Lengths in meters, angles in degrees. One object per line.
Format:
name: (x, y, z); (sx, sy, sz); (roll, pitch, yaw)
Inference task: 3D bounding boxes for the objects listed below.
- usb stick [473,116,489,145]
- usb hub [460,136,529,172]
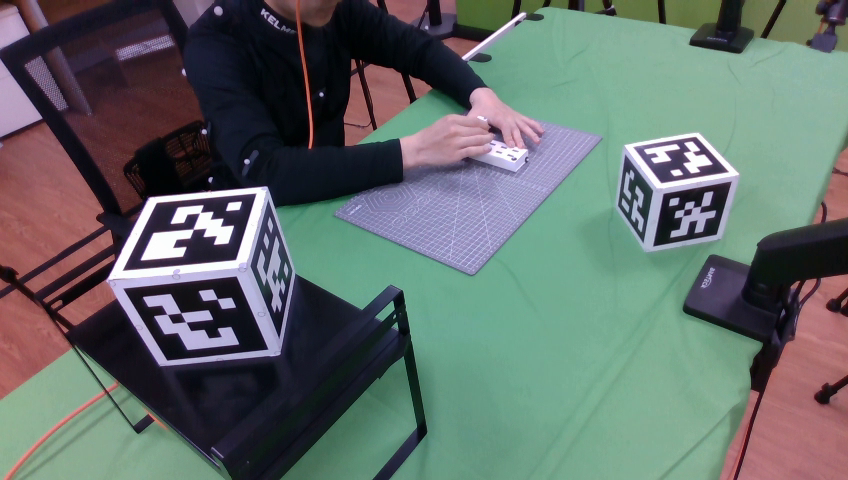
usb stick: (0.107, -0.209, 1.124); (0.021, 0.059, 0.027); (10, 46, 1)
usb hub: (0.132, -0.163, 1.138); (0.124, 0.025, 0.049); (20, 48, 30)
